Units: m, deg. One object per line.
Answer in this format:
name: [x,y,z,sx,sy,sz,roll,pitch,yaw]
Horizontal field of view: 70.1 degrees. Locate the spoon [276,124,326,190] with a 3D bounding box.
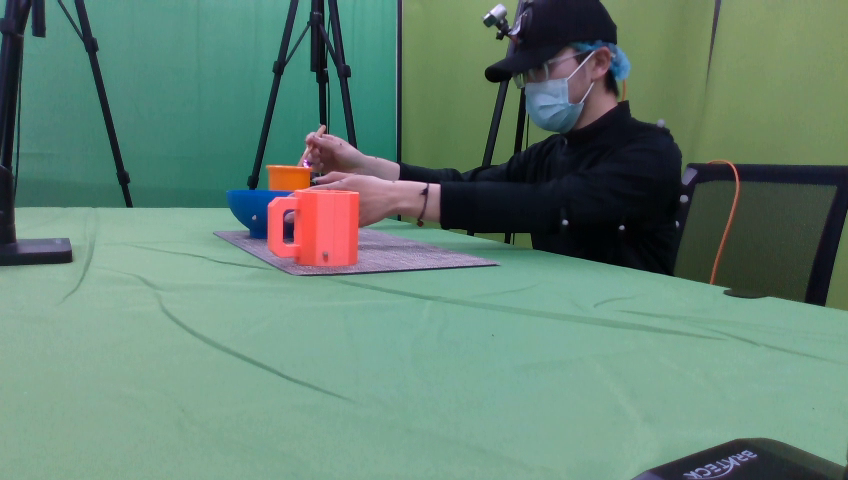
spoon: [-0.246,-0.168,1.237,0.041,0.193,0.022,16,-26,17]

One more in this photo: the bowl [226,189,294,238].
bowl: [-0.264,-0.046,1.050,0.151,0.077,0.151,2,7,0]

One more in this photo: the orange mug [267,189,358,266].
orange mug: [-0.145,-0.019,0.797,0.127,0.100,0.083,2,6,-37]
